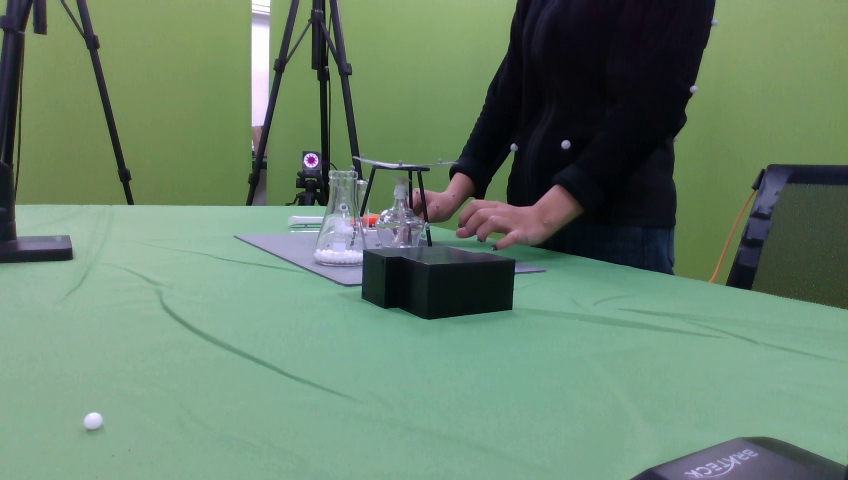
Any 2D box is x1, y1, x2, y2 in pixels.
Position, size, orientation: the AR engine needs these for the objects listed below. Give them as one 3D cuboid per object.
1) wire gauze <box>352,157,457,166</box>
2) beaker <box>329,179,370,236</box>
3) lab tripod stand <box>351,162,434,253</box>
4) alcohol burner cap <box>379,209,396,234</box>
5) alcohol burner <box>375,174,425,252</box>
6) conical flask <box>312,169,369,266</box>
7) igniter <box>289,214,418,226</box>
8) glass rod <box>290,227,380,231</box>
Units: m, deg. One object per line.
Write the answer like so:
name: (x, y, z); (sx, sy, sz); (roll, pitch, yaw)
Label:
wire gauze: (-0.029, -0.119, 0.927); (0.122, 0.011, 0.124); (-3, 9, -36)
beaker: (-0.137, -0.061, 1.101); (0.084, 0.100, 0.074); (4, 7, 20)
lab tripod stand: (-0.034, -0.052, 0.933); (0.148, 0.131, 0.148); (4, 7, 0)
alcohol burner cap: (-0.069, -0.036, 1.154); (0.034, 0.048, 0.034); (2, 7, 0)
alcohol burner: (-0.036, -0.042, 0.934); (0.078, 0.119, 0.078); (2, 9, 0)
conical flask: (-0.107, -0.031, 0.786); (0.075, 0.122, 0.075); (2, 8, 0)
igniter: (-0.141, -0.042, 1.258); (0.278, 0.025, 0.057); (-1, -2, -30)
glass rod: (-0.161, -0.023, 1.177); (0.201, 0.008, 0.008); (-2, 8, -28)
